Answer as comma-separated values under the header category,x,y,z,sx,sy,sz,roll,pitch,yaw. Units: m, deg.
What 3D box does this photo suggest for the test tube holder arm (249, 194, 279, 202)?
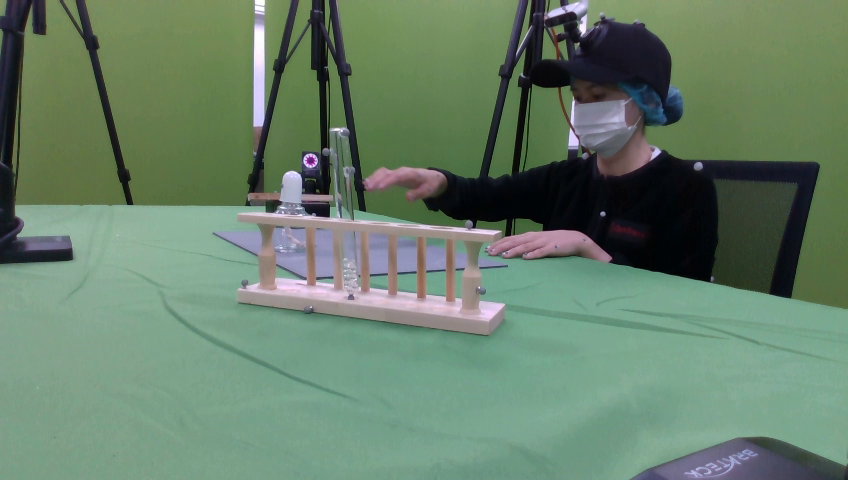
category,x,y,z,sx,sy,sz,roll,pitch,yaw
test tube holder arm,-0.302,-0.084,1.197,0.088,0.015,0.010,-2,1,-37

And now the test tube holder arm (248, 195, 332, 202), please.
category,x,y,z,sx,sy,sz,roll,pitch,yaw
test tube holder arm,-0.269,-0.085,1.229,0.179,0.015,0.013,-2,1,-37

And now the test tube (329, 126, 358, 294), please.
category,x,y,z,sx,sy,sz,roll,pitch,yaw
test tube,-0.071,-0.025,0.534,0.017,0.150,0.017,-3,10,1

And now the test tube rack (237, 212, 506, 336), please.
category,x,y,z,sx,sy,sz,roll,pitch,yaw
test tube rack,-0.049,0.024,0.552,0.242,0.085,0.067,5,8,18

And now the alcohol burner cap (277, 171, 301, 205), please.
category,x,y,z,sx,sy,sz,roll,pitch,yaw
alcohol burner cap,-0.195,-0.077,0.880,0.034,0.048,0.034,7,7,-1

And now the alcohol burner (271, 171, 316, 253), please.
category,x,y,z,sx,sy,sz,roll,pitch,yaw
alcohol burner,-0.196,-0.041,0.884,0.078,0.119,0.078,3,5,0
